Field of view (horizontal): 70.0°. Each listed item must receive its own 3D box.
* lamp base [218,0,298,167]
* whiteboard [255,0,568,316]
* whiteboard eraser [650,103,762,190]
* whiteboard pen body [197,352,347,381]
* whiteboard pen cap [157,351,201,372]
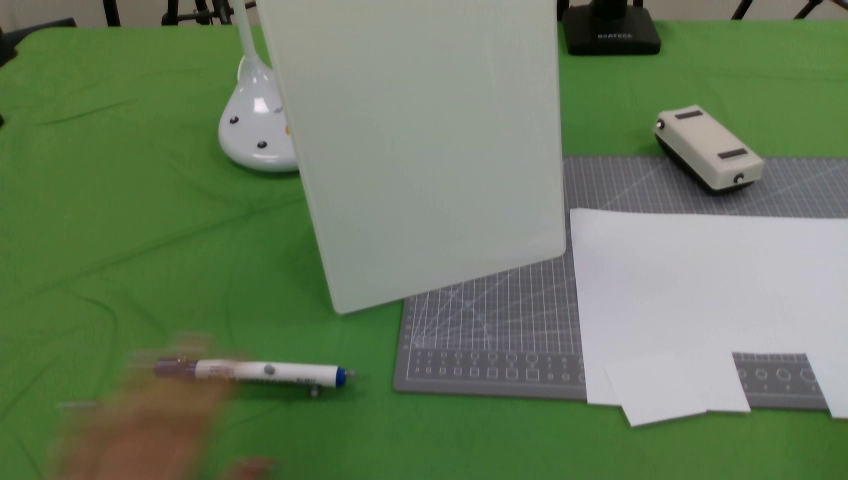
[{"bbox_3d":[-0.170,-0.197,0.656,0.160,0.182,0.177,-36,51,-28],"label":"lamp base"},{"bbox_3d":[-0.010,-0.123,0.526,0.217,0.308,0.142,-14,27,-9],"label":"whiteboard"},{"bbox_3d":[0.286,-0.096,0.623,0.056,0.042,0.111,-15,47,-10],"label":"whiteboard eraser"},{"bbox_3d":[-0.130,0.097,0.470,0.141,0.017,0.017,3,46,3],"label":"whiteboard pen body"},{"bbox_3d":[-0.189,0.095,0.474,0.033,0.018,0.018,1,45,2],"label":"whiteboard pen cap"}]
